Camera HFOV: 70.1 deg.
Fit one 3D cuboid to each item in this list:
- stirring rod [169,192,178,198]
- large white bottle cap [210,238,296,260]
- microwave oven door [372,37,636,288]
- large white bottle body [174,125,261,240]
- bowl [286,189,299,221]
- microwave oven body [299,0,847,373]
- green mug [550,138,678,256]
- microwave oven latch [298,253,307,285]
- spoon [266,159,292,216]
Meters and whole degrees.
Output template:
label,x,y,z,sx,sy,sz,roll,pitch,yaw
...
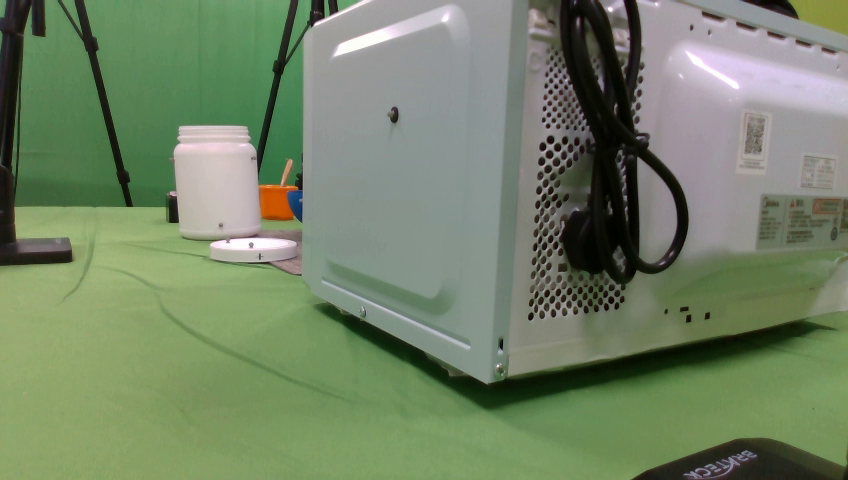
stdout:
label,x,y,z,sx,sy,sz,roll,pitch,yaw
stirring rod,-0.466,-0.098,1.283,0.014,0.006,0.177,42,22,17
large white bottle cap,-0.236,0.012,0.839,0.115,0.018,0.115,2,7,0
microwave oven door,0.110,-0.080,0.686,0.358,0.243,0.039,-2,9,-33
large white bottle body,-0.349,-0.100,1.025,0.131,0.184,0.130,-1,9,0
bowl,-0.179,-0.051,1.115,0.151,0.077,0.151,3,8,0
microwave oven body,0.151,-0.055,0.543,0.444,0.260,0.324,-2,7,-33
green mug,0.178,-0.037,0.582,0.124,0.105,0.093,-1,0,43
microwave oven latch,-0.081,0.027,0.583,0.079,0.029,0.030,-1,7,-32
spoon,-0.334,-0.127,1.424,0.041,0.193,0.021,0,-37,6
